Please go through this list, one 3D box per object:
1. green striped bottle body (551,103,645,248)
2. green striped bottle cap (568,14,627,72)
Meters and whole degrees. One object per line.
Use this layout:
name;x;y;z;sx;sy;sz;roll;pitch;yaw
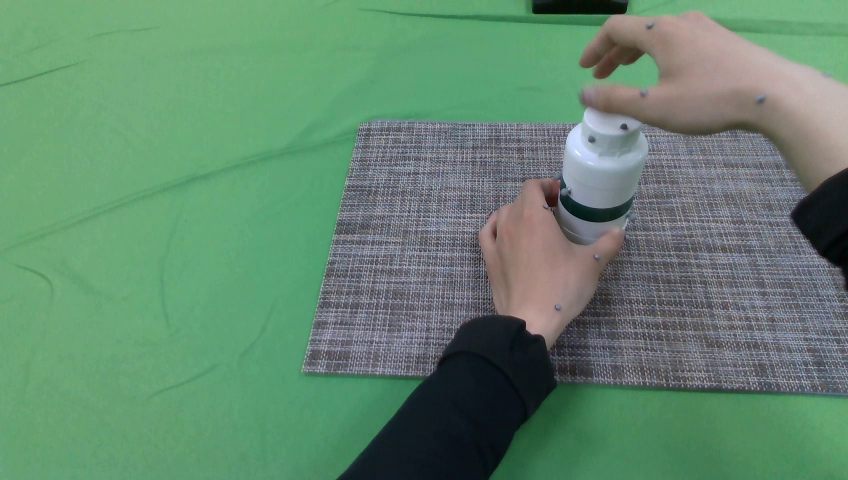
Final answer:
green striped bottle body;0.143;-0.054;0.500;0.063;0.120;0.062;-2;50;2
green striped bottle cap;0.133;-0.151;0.465;0.044;0.044;0.020;-38;88;-25
